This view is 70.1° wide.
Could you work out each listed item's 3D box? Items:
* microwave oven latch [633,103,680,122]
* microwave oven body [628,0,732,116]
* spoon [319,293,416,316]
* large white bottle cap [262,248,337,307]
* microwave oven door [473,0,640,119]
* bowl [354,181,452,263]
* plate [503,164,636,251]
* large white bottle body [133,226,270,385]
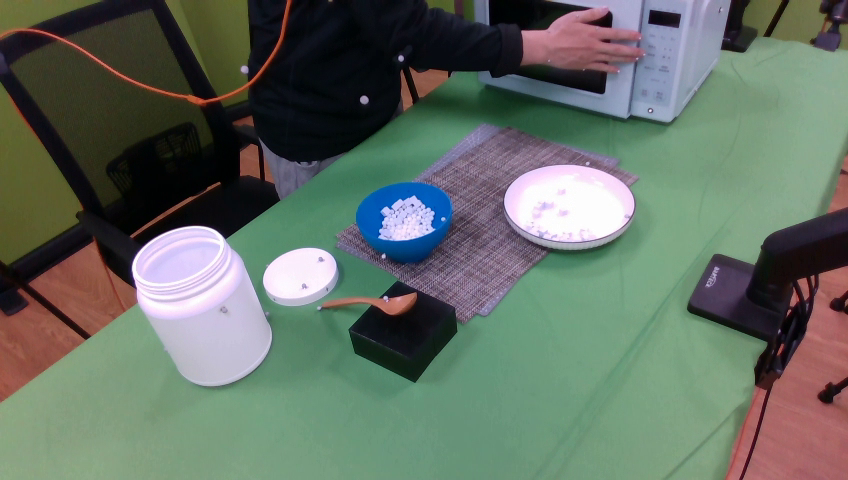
[{"bbox_3d":[0.443,-0.249,1.158,0.078,0.029,0.030,21,49,30],"label":"microwave oven latch"},{"bbox_3d":[0.377,-0.463,1.267,0.438,0.261,0.327,21,49,30],"label":"microwave oven body"},{"bbox_3d":[-0.082,0.086,0.826,0.192,0.022,0.041,-3,38,41],"label":"spoon"},{"bbox_3d":[-0.193,0.056,0.934,0.115,0.018,0.114,-5,41,4],"label":"large white bottle cap"},{"bbox_3d":[0.252,-0.391,1.194,0.353,0.245,0.039,24,49,31],"label":"microwave oven door"},{"bbox_3d":[-0.028,-0.017,0.943,0.151,0.077,0.150,-4,40,3],"label":"bowl"},{"bbox_3d":[0.232,-0.051,0.976,0.209,0.038,0.208,-3,41,3],"label":"plate"},{"bbox_3d":[-0.285,0.084,0.784,0.130,0.185,0.130,-4,41,4],"label":"large white bottle body"}]
